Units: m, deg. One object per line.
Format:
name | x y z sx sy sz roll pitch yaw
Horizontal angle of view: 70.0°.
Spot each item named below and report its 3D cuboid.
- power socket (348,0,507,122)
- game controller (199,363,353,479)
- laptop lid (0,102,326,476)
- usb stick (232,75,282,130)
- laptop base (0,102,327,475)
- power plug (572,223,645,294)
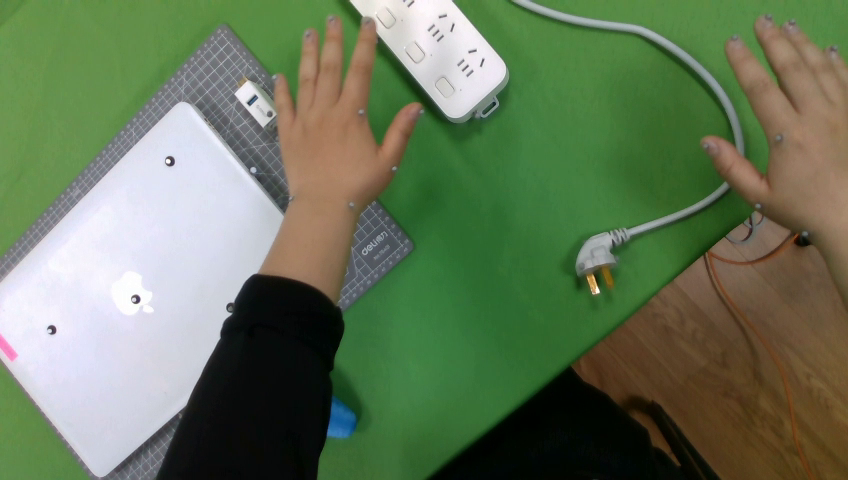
power socket | -0.012 -0.208 0.565 0.072 0.032 0.226 -40 86 11
game controller | -0.157 0.195 0.609 0.155 0.052 0.097 -40 81 9
laptop lid | -0.297 0.059 0.627 0.357 0.013 0.241 -39 89 10
usb stick | -0.169 -0.138 0.597 0.021 0.027 0.059 -40 85 9
laptop base | -0.297 0.057 0.638 0.354 0.023 0.235 -41 89 10
power plug | 0.168 0.015 0.543 0.072 0.035 0.052 -23 71 22
